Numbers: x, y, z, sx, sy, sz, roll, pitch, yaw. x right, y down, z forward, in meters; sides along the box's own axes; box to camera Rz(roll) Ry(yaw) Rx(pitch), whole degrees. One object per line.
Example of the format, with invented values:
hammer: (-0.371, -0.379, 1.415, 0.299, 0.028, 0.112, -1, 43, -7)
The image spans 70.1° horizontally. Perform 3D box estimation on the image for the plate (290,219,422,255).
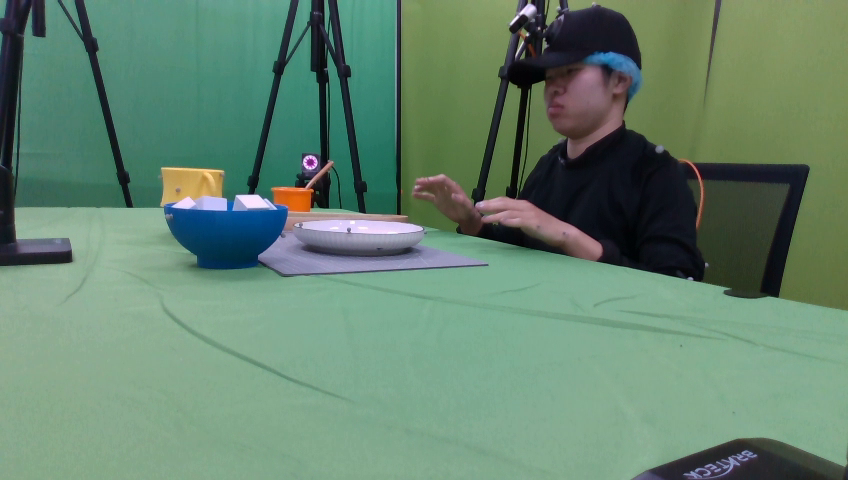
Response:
plate: (-0.108, -0.005, 0.963, 0.208, 0.039, 0.207, 3, 7, 0)

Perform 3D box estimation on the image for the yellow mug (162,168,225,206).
yellow mug: (-0.383, -0.087, 1.026, 0.130, 0.064, 0.100, 11, 11, 44)

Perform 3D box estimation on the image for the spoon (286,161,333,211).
spoon: (-0.262, -0.115, 1.359, 0.041, 0.194, 0.022, 13, -33, 38)

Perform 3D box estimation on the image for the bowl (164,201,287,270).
bowl: (-0.254, -0.006, 0.782, 0.151, 0.077, 0.151, 2, 8, 0)

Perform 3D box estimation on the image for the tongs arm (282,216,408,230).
tongs arm: (-0.181, -0.034, 1.200, 0.390, 0.028, 0.028, -2, 4, -39)

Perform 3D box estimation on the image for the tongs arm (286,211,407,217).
tongs arm: (-0.222, -0.045, 1.271, 0.387, 0.026, 0.050, 1, 6, -25)
